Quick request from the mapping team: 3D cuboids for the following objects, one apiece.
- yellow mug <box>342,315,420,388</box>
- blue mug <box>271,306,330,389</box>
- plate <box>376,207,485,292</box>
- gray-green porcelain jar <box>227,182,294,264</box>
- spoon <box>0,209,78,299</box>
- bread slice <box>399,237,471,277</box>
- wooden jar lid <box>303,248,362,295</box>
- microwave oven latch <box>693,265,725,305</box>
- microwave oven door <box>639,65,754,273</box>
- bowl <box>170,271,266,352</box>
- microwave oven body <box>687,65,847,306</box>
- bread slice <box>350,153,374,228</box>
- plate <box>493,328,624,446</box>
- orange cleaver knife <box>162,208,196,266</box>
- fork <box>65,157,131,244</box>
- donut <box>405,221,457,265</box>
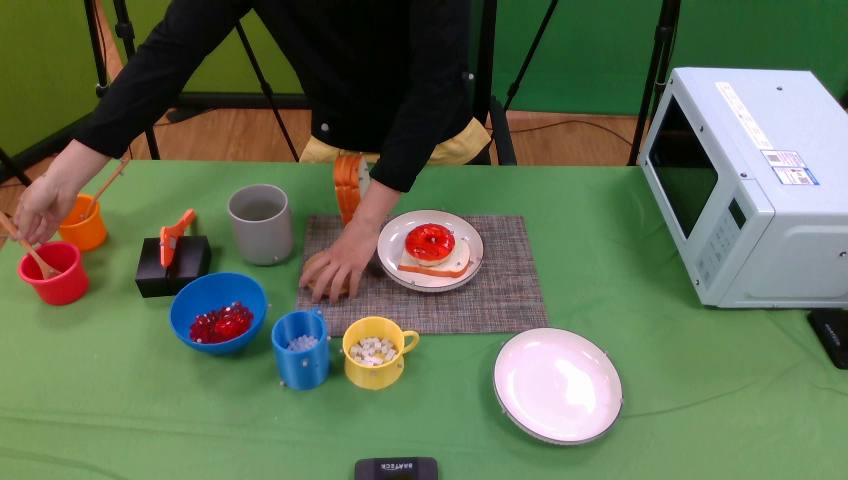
[{"bbox_3d":[-0.068,0.177,0.991,0.131,0.064,0.099,-15,50,-19],"label":"yellow mug"},{"bbox_3d":[-0.188,0.163,0.969,0.082,0.106,0.116,15,47,10],"label":"blue mug"},{"bbox_3d":[0.012,0.021,1.159,0.209,0.038,0.208,2,47,-2],"label":"plate"},{"bbox_3d":[-0.299,-0.026,1.125,0.106,0.127,0.105,2,46,-2],"label":"gray-green porcelain jar"},{"bbox_3d":[-0.668,0.021,1.040,0.041,0.021,0.194,-41,105,-30],"label":"spoon"},{"bbox_3d":[0.025,0.025,1.161,0.131,0.019,0.104,7,47,8],"label":"bread slice"},{"bbox_3d":[-0.169,0.060,1.121,0.108,0.021,0.107,2,46,-2],"label":"wooden jar lid"},{"bbox_3d":[0.522,0.081,1.115,0.030,0.029,0.078,2,46,-1],"label":"microwave oven latch"},{"bbox_3d":[0.522,-0.147,1.192,0.039,0.245,0.353,0,47,-3],"label":"microwave oven door"},{"bbox_3d":[-0.333,0.132,1.006,0.151,0.077,0.150,2,46,-2],"label":"bowl"},{"bbox_3d":[0.669,-0.111,1.176,0.326,0.261,0.439,0,46,-3],"label":"microwave oven body"},{"bbox_3d":[-0.123,-0.104,1.207,0.018,0.135,0.106,-1,48,7],"label":"bread slice"},{"bbox_3d":[0.213,0.236,0.974,0.208,0.039,0.206,2,46,-2],"label":"plate"},{"bbox_3d":[-0.454,-0.010,1.129,0.012,0.077,0.210,-1,17,-6],"label":"orange cleaver knife"},{"bbox_3d":[-0.609,-0.074,1.133,0.207,0.019,0.028,-52,51,10],"label":"fork"},{"bbox_3d":[0.013,0.004,1.136,0.099,0.048,0.098,0,46,0],"label":"donut"}]
